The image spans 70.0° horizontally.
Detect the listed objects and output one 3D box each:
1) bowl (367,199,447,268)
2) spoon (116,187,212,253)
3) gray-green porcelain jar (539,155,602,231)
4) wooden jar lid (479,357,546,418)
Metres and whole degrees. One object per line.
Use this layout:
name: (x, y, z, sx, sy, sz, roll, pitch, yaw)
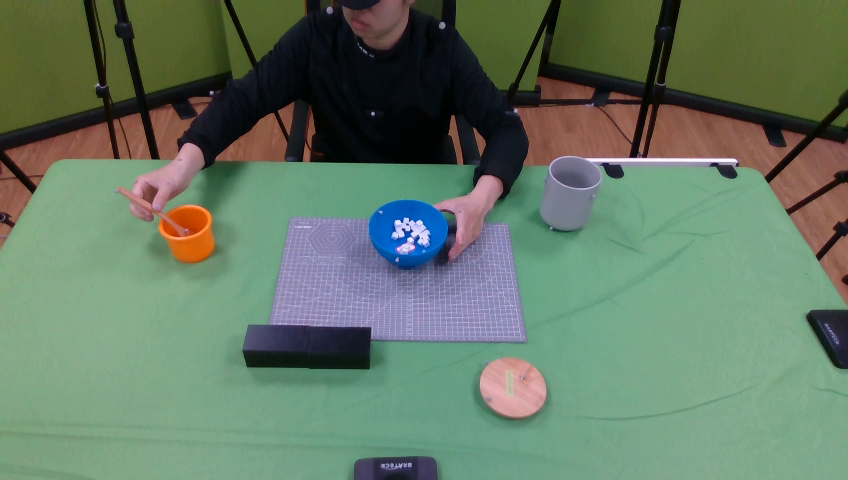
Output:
bowl: (-0.033, 0.000, 1.152, 0.151, 0.077, 0.150, 3, 46, -2)
spoon: (-0.472, -0.038, 1.107, 0.021, 0.195, 0.041, -27, 35, 30)
gray-green porcelain jar: (0.294, -0.091, 1.235, 0.106, 0.127, 0.105, 2, 46, -2)
wooden jar lid: (0.142, 0.240, 0.979, 0.108, 0.021, 0.107, 1, 46, -1)
